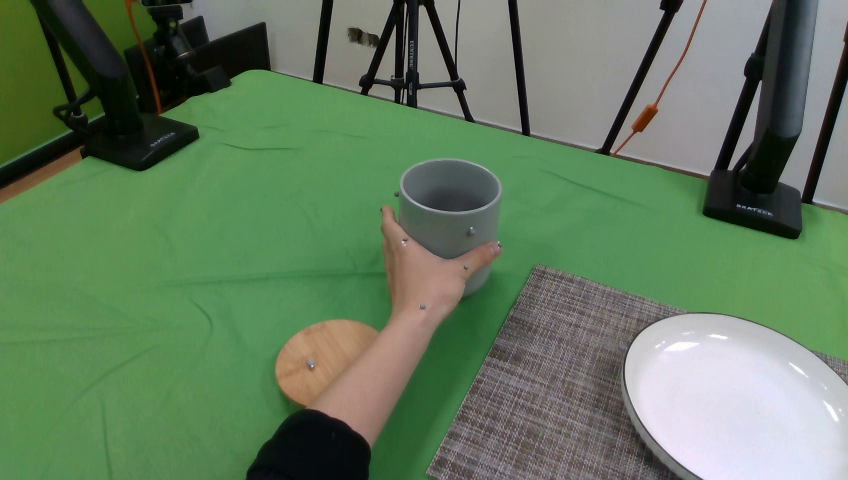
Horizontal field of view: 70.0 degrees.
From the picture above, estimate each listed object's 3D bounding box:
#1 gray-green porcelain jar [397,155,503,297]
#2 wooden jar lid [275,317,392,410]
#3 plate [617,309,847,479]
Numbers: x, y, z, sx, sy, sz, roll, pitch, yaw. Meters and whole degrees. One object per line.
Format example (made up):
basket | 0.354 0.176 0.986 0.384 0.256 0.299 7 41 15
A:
gray-green porcelain jar | 0.024 -0.011 0.650 0.106 0.127 0.105 2 39 -2
wooden jar lid | -0.084 0.116 0.569 0.108 0.021 0.107 3 39 -2
plate | 0.274 0.147 0.535 0.208 0.039 0.205 2 38 -1
